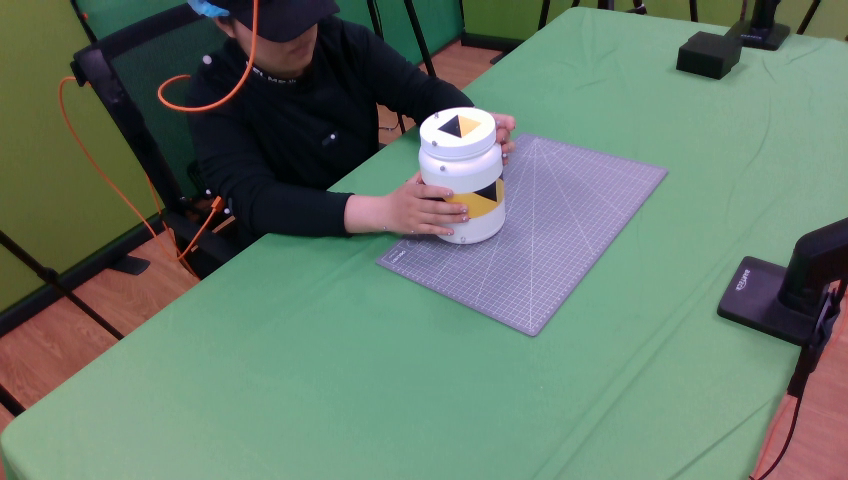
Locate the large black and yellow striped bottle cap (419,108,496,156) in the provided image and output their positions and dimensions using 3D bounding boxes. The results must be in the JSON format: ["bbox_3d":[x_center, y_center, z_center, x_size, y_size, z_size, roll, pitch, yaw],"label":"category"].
[{"bbox_3d":[0.050,-0.164,0.906,0.115,0.019,0.114,-4,40,4],"label":"large black and yellow striped bottle cap"}]

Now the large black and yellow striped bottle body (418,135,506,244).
[{"bbox_3d":[0.061,-0.100,0.959,0.131,0.185,0.130,-5,40,5],"label":"large black and yellow striped bottle body"}]
